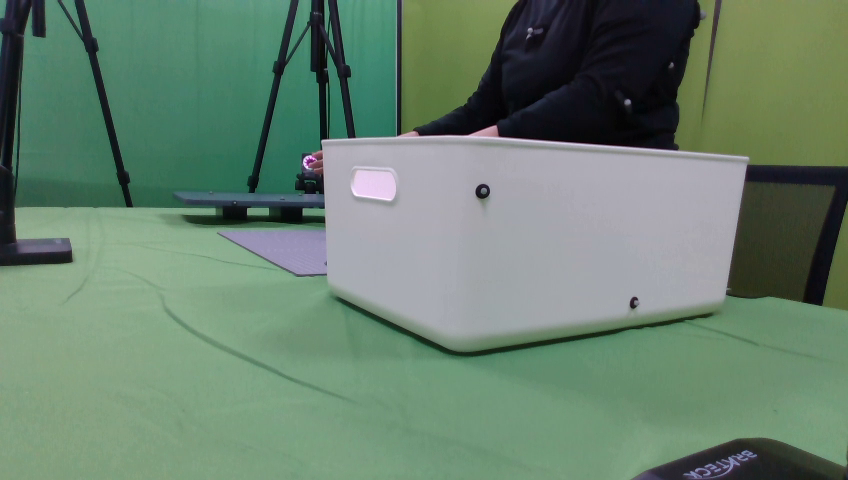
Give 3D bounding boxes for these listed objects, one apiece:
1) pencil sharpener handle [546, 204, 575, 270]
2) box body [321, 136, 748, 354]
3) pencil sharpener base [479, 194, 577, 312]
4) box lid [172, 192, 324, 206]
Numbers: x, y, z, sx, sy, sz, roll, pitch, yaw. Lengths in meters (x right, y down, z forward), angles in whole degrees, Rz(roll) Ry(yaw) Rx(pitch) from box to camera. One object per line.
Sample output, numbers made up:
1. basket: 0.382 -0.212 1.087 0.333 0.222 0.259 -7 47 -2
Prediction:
1. pencil sharpener handle: 0.145 -0.003 0.619 0.031 0.067 0.036 -1 16 -33
2. box body: 0.105 -0.012 0.604 0.366 0.160 0.253 -2 8 -33
3. pencil sharpener base: 0.103 0.011 0.591 0.077 0.107 0.061 -1 7 -33
4. box lid: -0.355 -0.091 1.350 0.373 0.015 0.262 -1 8 -29
